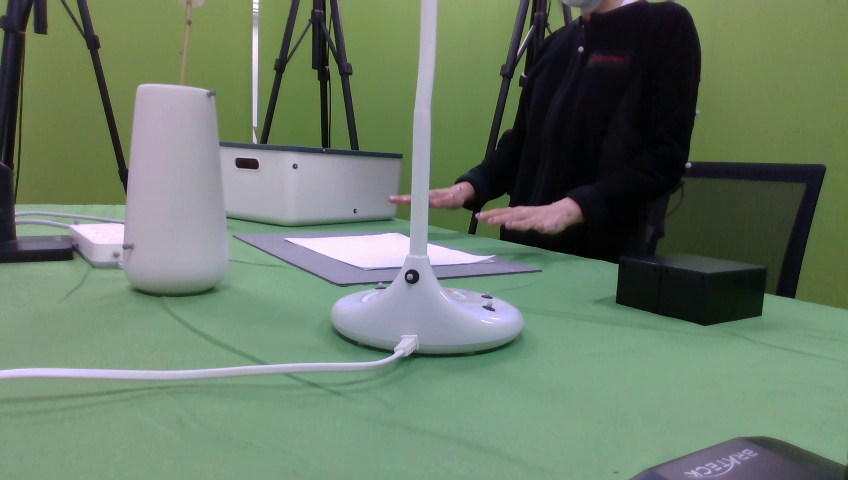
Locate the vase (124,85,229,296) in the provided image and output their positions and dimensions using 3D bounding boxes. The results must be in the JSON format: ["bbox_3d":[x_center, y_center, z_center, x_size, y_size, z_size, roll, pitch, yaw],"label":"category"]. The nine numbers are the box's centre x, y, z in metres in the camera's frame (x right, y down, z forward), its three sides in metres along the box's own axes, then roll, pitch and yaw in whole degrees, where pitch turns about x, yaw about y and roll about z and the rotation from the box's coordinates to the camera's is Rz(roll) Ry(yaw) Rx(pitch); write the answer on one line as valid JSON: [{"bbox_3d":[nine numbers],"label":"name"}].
[{"bbox_3d":[-0.244,-0.047,0.598,0.098,0.200,0.098,3,8,0],"label":"vase"}]

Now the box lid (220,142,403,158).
[{"bbox_3d":[-0.252,-0.202,1.368,0.262,0.015,0.373,9,9,36],"label":"box lid"}]

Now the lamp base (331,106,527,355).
[{"bbox_3d":[0.006,-0.012,0.478,0.161,0.180,0.179,2,10,2],"label":"lamp base"}]

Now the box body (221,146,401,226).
[{"bbox_3d":[-0.254,-0.128,1.379,0.253,0.160,0.366,8,9,36],"label":"box body"}]

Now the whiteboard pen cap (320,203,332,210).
[{"bbox_3d":[-0.247,-0.084,1.531,0.033,0.018,0.018,10,10,39],"label":"whiteboard pen cap"}]

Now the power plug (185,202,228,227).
[{"bbox_3d":[-0.408,-0.043,1.151,0.072,0.052,0.035,-17,5,15],"label":"power plug"}]

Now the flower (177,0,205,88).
[{"bbox_3d":[-0.243,-0.131,0.609,0.044,0.361,0.038,-5,-12,12],"label":"flower"}]

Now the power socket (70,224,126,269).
[{"bbox_3d":[-0.409,0.004,0.792,0.072,0.032,0.225,-2,8,-37],"label":"power socket"}]
